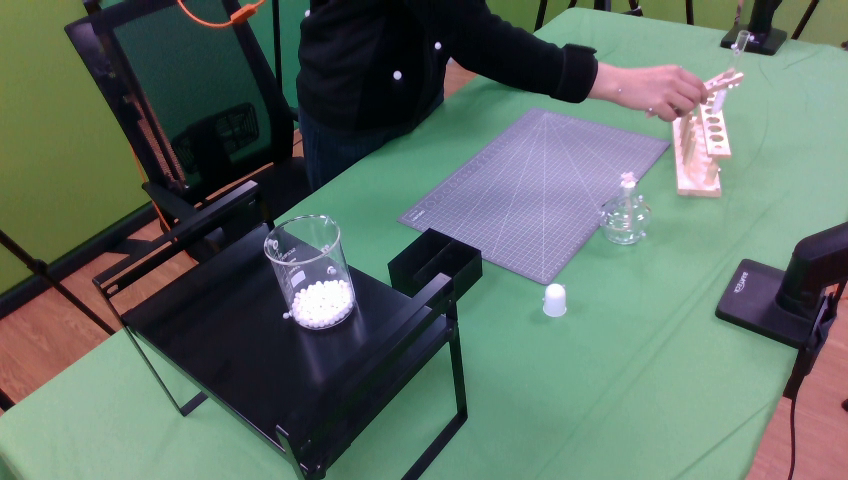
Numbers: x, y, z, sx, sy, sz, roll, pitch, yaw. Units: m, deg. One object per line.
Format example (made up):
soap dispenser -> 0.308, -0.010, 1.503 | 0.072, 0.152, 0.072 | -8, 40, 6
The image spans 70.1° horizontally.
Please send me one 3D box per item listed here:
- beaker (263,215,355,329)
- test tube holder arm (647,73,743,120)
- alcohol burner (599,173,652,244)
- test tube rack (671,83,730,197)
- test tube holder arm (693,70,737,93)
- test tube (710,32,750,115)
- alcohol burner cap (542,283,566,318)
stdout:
beaker -> -0.112, 0.034, 0.616 | 0.073, 0.101, 0.084 | 13, 44, 23
test tube holder arm -> 0.426, -0.226, 0.949 | 0.179, 0.015, 0.013 | -24, 47, -12
alcohol burner -> 0.308, -0.052, 0.920 | 0.078, 0.119, 0.077 | -5, 42, 5
test tube rack -> 0.483, -0.184, 1.067 | 0.066, 0.085, 0.242 | 5, 42, 15
test tube holder arm -> 0.463, -0.248, 0.963 | 0.088, 0.015, 0.010 | -29, 49, -17
test tube -> 0.484, -0.260, 0.960 | 0.017, 0.151, 0.017 | -2, 51, 3
alcohol burner cap -> 0.182, 0.081, 0.839 | 0.034, 0.048, 0.033 | -3, 40, 3
